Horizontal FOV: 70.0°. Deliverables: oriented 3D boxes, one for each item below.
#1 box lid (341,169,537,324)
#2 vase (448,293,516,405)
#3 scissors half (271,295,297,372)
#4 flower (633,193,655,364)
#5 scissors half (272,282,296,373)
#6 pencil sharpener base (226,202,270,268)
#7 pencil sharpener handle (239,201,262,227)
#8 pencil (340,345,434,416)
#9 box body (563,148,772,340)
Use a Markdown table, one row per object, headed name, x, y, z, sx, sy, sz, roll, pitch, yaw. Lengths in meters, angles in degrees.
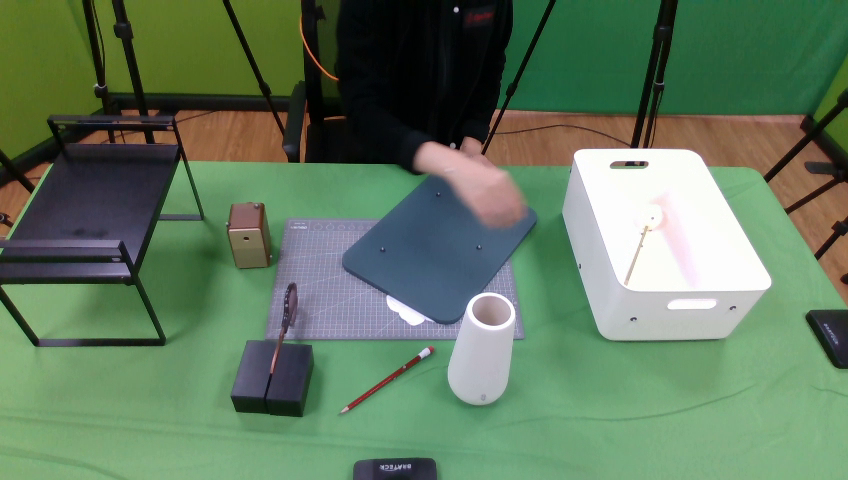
| name | x | y | z | sx | sy | sz | roll | pitch | yaw |
| --- | --- | --- | --- | --- | --- | --- | --- | --- | --- |
| box lid | 0.038 | -0.004 | 1.210 | 0.262 | 0.015 | 0.371 | 27 | 49 | 21 |
| vase | 0.091 | 0.169 | 0.921 | 0.098 | 0.201 | 0.097 | 3 | 47 | -3 |
| scissors half | -0.230 | 0.154 | 1.000 | 0.013 | 0.040 | 0.174 | 1 | 34 | 1 |
| flower | 0.423 | 0.067 | 1.186 | 0.038 | 0.044 | 0.360 | 22 | 64 | -18 |
| scissors half | -0.229 | 0.139 | 0.986 | 0.013 | 0.040 | 0.174 | 4 | 51 | -3 |
| pencil sharpener base | -0.323 | -0.010 | 1.123 | 0.061 | 0.107 | 0.076 | -3 | 46 | -7 |
| pencil sharpener handle | -0.325 | -0.055 | 1.150 | 0.036 | 0.068 | 0.030 | -13 | 46 | 4 |
| pencil | -0.058 | 0.228 | 0.984 | 0.194 | 0.012 | 0.012 | -32 | 56 | -28 |
| box body | 0.421 | 0.003 | 1.130 | 0.254 | 0.161 | 0.361 | 0 | 46 | -5 |
